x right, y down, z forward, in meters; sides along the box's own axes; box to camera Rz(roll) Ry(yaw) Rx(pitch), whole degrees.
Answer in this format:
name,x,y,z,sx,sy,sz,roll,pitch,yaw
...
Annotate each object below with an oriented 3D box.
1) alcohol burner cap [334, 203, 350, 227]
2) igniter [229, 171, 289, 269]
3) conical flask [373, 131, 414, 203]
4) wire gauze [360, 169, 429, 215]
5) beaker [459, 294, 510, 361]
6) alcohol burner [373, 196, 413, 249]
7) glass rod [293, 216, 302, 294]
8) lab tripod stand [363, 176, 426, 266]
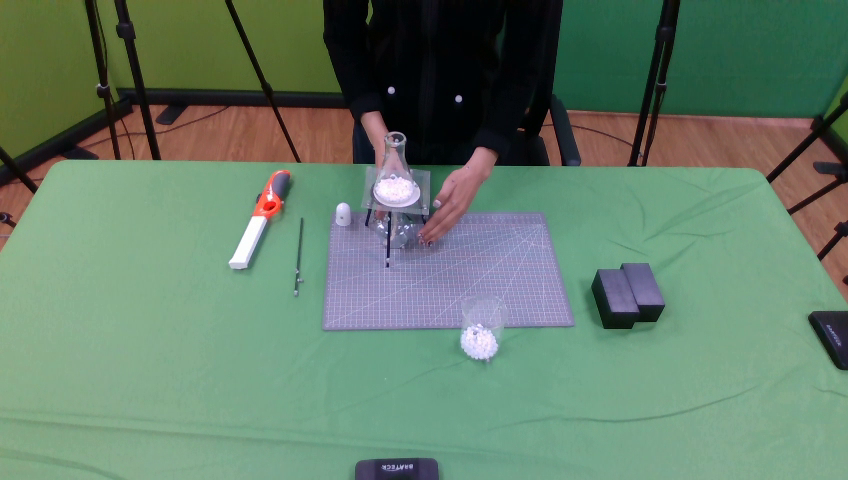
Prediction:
name,x,y,z,sx,sy,sz,roll,pitch,yaw
alcohol burner cap,-0.166,-0.054,1.220,0.034,0.048,0.033,2,46,-2
igniter,-0.328,-0.049,1.218,0.057,0.025,0.275,1,45,11
conical flask,-0.053,-0.131,1.067,0.075,0.122,0.075,2,44,-2
wire gauze,-0.052,-0.092,1.111,0.125,0.011,0.120,3,43,1
beaker,0.095,0.147,1.012,0.083,0.101,0.074,26,49,21
alcohol burner,-0.059,-0.040,1.167,0.078,0.119,0.077,4,46,-4
glass rod,-0.243,0.024,1.166,0.008,0.008,0.198,-2,47,-5
lab tripod stand,-0.058,-0.047,1.159,0.148,0.132,0.147,3,44,-3
